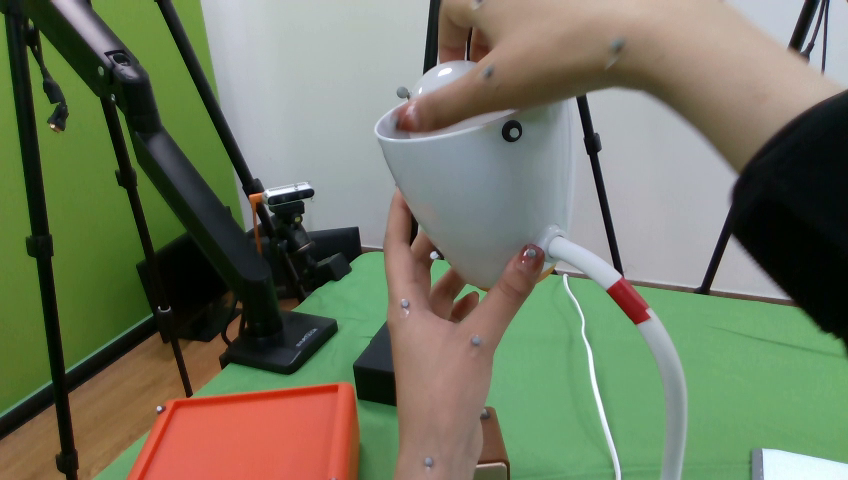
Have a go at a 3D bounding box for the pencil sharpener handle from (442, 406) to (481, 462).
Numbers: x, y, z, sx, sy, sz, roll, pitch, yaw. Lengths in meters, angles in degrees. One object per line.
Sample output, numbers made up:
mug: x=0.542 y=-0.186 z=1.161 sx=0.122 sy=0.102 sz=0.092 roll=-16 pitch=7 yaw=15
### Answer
pencil sharpener handle: x=0.034 y=0.178 z=0.578 sx=0.036 sy=0.068 sz=0.030 roll=0 pitch=24 yaw=-4

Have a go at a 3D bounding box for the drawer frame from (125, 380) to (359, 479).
drawer frame: x=-0.165 y=0.231 z=0.553 sx=0.202 sy=0.083 sz=0.212 roll=-6 pitch=24 yaw=-2

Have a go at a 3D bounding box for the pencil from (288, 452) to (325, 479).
pencil: x=-0.161 y=0.250 z=0.523 sx=0.194 sy=0.012 sz=0.012 roll=-36 pitch=38 yaw=-31

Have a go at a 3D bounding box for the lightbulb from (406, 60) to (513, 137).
lightbulb: x=0.028 y=-0.050 z=0.350 sx=0.059 sy=0.108 sz=0.059 roll=-18 pitch=30 yaw=11

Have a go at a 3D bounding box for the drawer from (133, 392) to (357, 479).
drawer: x=-0.164 y=0.234 z=0.550 sx=0.194 sy=0.074 sz=0.210 roll=-6 pitch=24 yaw=-1

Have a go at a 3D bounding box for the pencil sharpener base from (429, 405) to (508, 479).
pencil sharpener base: x=0.039 y=0.210 z=0.537 sx=0.061 sy=0.108 sz=0.076 roll=-5 pitch=24 yaw=-1

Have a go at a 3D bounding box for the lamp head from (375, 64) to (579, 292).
lamp head: x=0.043 y=-0.030 z=0.357 sx=0.112 sy=0.124 sz=0.111 roll=-18 pitch=21 yaw=8

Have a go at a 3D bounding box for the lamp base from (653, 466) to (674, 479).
lamp base: x=0.152 y=0.241 z=0.357 sx=0.161 sy=0.181 sz=0.178 roll=-7 pitch=21 yaw=-5
